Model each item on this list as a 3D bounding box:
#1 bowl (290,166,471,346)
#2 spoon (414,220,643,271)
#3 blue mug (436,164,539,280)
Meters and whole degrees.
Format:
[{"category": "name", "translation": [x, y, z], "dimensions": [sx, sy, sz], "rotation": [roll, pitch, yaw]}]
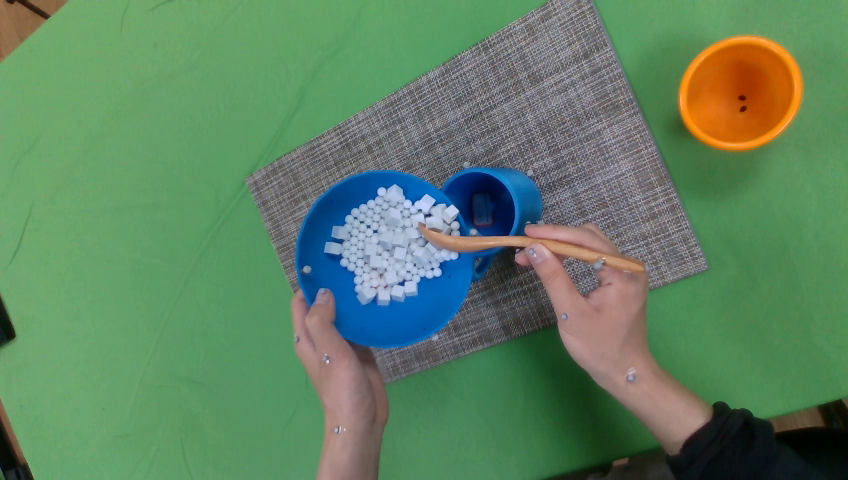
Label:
[{"category": "bowl", "translation": [-0.041, 0.018, 0.534], "dimensions": [0.152, 0.077, 0.151], "rotation": [2, 81, -12]}, {"category": "spoon", "translation": [0.070, 0.003, 0.464], "dimensions": [0.192, 0.042, 0.021], "rotation": [6, 75, 36]}, {"category": "blue mug", "translation": [0.059, -0.017, 0.598], "dimensions": [0.082, 0.106, 0.117], "rotation": [17, 103, 19]}]
